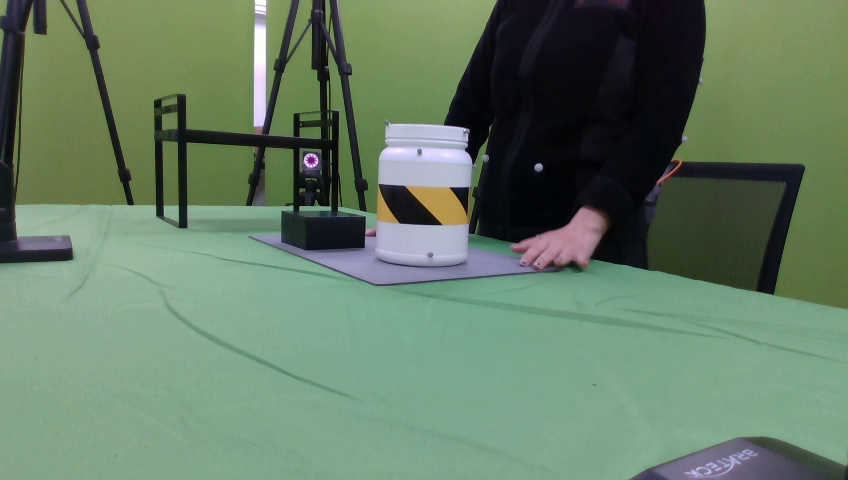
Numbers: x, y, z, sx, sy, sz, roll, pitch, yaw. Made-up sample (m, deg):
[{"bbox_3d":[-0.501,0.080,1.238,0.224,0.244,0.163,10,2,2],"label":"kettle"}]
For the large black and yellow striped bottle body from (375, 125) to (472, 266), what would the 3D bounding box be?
[{"bbox_3d":[-0.001,-0.064,0.837,0.131,0.184,0.130,2,7,0],"label":"large black and yellow striped bottle body"}]

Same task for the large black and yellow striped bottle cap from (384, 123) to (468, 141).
[{"bbox_3d":[0.003,-0.147,0.827,0.115,0.019,0.115,3,9,0],"label":"large black and yellow striped bottle cap"}]
